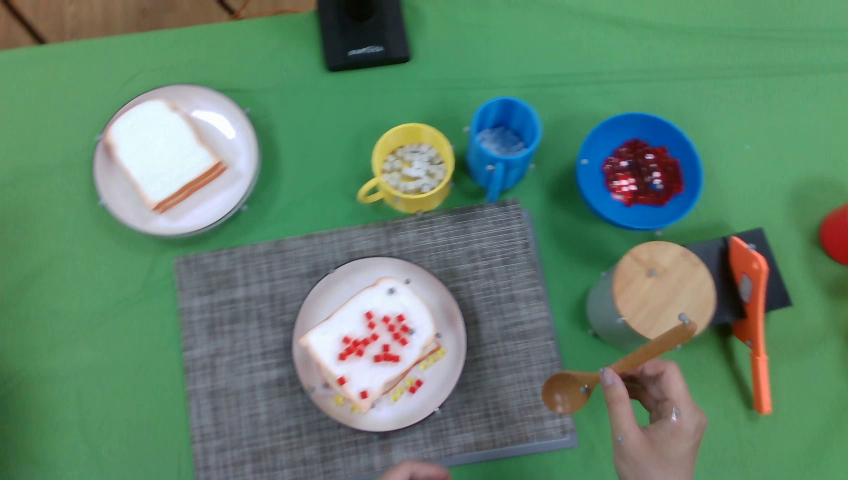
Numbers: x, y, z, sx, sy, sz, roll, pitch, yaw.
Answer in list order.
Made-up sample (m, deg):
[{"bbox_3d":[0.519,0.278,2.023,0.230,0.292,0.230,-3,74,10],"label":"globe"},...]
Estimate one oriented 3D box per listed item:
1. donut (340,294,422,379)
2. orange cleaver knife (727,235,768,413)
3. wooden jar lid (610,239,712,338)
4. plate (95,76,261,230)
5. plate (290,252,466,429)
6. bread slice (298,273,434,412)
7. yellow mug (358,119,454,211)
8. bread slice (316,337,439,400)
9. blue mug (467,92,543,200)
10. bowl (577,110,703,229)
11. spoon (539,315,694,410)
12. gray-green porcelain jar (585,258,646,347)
[{"bbox_3d":[-0.048,0.111,0.700,0.099,0.048,0.098,6,71,-17],"label":"donut"},{"bbox_3d":[0.383,0.100,0.720,0.012,0.077,0.212,-10,103,-3],"label":"orange cleaver knife"},{"bbox_3d":[0.249,0.053,0.642,0.108,0.021,0.108,1,78,-3],"label":"wooden jar lid"},{"bbox_3d":[-0.312,-0.110,0.782,0.208,0.039,0.206,0,76,-1],"label":"plate"},{"bbox_3d":[-0.054,0.118,0.727,0.209,0.038,0.208,0,76,-1],"label":"plate"},{"bbox_3d":[-0.057,0.102,0.670,0.107,0.018,0.134,46,73,3],"label":"bread slice"},{"bbox_3d":[-0.026,-0.087,0.767,0.131,0.064,0.099,-29,78,-6],"label":"yellow mug"},{"bbox_3d":[-0.062,0.129,0.728,0.131,0.019,0.104,-40,79,-12],"label":"bread slice"},{"bbox_3d":[0.095,-0.107,0.755,0.082,0.106,0.116,11,76,2],"label":"blue mug"},{"bbox_3d":[0.260,-0.078,0.764,0.151,0.077,0.150,0,76,-1],"label":"bowl"},{"bbox_3d":[0.162,0.111,0.531,0.021,0.194,0.041,-27,76,-35],"label":"spoon"},{"bbox_3d":[0.250,0.069,0.703,0.106,0.127,0.105,0,76,-1],"label":"gray-green porcelain jar"}]
